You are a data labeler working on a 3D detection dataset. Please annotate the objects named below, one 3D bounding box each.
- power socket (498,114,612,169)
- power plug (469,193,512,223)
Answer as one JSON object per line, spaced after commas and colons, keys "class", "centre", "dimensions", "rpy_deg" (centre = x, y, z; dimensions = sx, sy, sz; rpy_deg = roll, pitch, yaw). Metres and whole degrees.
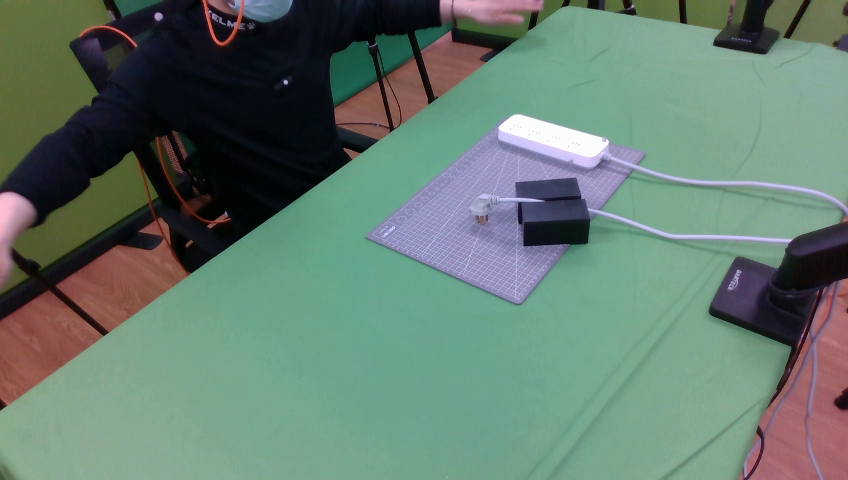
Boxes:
{"class": "power socket", "centre": [0.240, -0.189, 1.141], "dimensions": [0.225, 0.033, 0.072], "rpy_deg": [25, 50, 32]}
{"class": "power plug", "centre": [0.104, -0.047, 0.975], "dimensions": [0.035, 0.053, 0.072], "rpy_deg": [-28, 35, -34]}
